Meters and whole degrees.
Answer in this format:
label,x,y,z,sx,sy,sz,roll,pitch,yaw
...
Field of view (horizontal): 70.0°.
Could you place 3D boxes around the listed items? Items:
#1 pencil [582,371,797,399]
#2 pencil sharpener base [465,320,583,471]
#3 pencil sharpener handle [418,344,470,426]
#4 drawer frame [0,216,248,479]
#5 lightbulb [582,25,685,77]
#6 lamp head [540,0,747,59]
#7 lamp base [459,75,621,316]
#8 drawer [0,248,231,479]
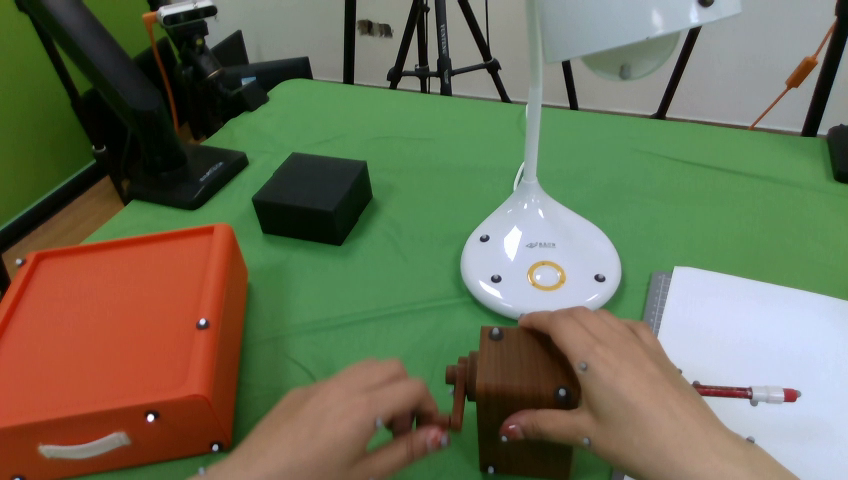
label,x,y,z,sx,sy,sz,roll,pitch,yaw
pencil,0.149,0.096,0.412,0.194,0.012,0.012,2,41,7
pencil sharpener base,0.071,0.114,0.441,0.076,0.108,0.061,1,42,8
pencil sharpener handle,0.016,0.100,0.417,0.030,0.036,0.067,1,32,9
drawer frame,-0.269,0.085,0.531,0.202,0.083,0.211,-10,40,-4
lightbulb,0.117,-0.148,0.343,0.059,0.108,0.059,-5,16,2
lamp head,0.112,-0.174,0.343,0.112,0.123,0.112,-16,10,3
lamp base,0.108,-0.049,0.573,0.161,0.182,0.177,-9,38,-4
drawer,-0.266,0.087,0.530,0.195,0.074,0.209,-9,39,-4
